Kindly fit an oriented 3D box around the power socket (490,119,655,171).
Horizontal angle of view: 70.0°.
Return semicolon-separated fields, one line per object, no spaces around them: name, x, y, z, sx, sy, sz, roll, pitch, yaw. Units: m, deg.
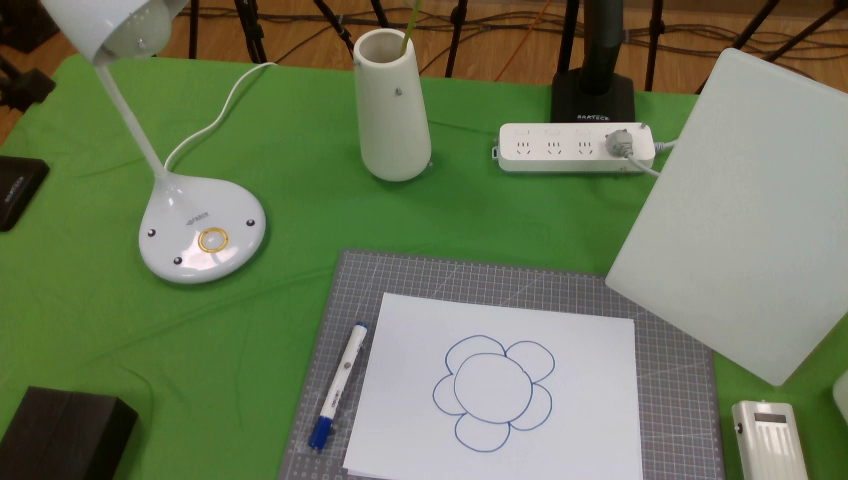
power socket;0.207;-0.133;0.844;0.227;0.033;0.071;1;57;3

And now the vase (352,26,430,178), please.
vase;-0.045;-0.171;0.779;0.098;0.202;0.097;-2;56;3

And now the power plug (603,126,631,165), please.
power plug;0.255;-0.119;0.806;0.035;0.053;0.072;10;64;9

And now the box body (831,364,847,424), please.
box body;0.571;0.228;0.510;0.254;0.162;0.360;-10;56;-4

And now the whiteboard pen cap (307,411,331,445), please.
whiteboard pen cap;-0.110;0.199;0.641;0.018;0.018;0.033;13;60;11

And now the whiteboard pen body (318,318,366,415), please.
whiteboard pen body;-0.094;0.150;0.669;0.017;0.017;0.140;13;60;11

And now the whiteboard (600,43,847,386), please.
whiteboard;0.367;-0.037;0.647;0.215;0.307;0.144;34;43;23

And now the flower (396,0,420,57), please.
flower;-0.030;-0.208;0.705;0.044;0.363;0.038;-30;77;-26

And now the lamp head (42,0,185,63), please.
lamp head;-0.266;-0.221;0.484;0.123;0.112;0.112;47;63;-14

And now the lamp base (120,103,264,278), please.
lamp base;-0.302;-0.069;0.732;0.177;0.182;0.160;35;64;26

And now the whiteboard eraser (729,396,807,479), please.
whiteboard eraser;0.342;0.214;0.602;0.055;0.042;0.111;4;56;4
